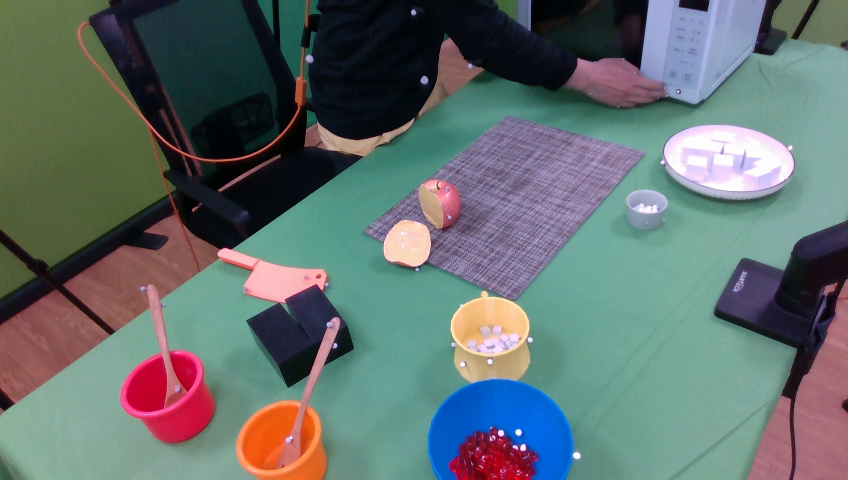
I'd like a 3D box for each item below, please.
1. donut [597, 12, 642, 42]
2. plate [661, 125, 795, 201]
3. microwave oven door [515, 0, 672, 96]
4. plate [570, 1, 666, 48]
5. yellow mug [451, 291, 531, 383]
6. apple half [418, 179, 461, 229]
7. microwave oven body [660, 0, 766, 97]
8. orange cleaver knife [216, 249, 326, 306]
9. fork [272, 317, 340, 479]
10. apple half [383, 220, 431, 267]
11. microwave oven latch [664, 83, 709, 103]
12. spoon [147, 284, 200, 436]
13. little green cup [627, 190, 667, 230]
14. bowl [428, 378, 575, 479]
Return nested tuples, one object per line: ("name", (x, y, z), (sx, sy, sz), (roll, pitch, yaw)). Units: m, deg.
("donut", (0.436, -0.477, 1.347), (0.099, 0.048, 0.098), (-12, 32, 8))
("plate", (0.514, -0.128, 1.036), (0.207, 0.039, 0.206), (-4, 40, 4))
("microwave oven door", (0.344, -0.455, 1.260), (0.353, 0.245, 0.039), (26, 51, 33))
("plate", (0.437, -0.485, 1.370), (0.209, 0.038, 0.208), (-4, 42, 4))
("yellow mug", (0.086, 0.119, 0.787), (0.100, 0.064, 0.130), (-7, 39, 1))
("apple half", (0.032, -0.063, 0.999), (0.053, 0.075, 0.080), (-23, 39, -23))
("microwave oven body", (0.473, -0.514, 1.317), (0.438, 0.261, 0.327), (26, 51, 34))
("orange cleaver knife", (-0.248, 0.058, 0.945), (0.210, 0.012, 0.077), (13, 51, 19))
("fork", (-0.131, 0.185, 0.677), (0.028, 0.019, 0.207), (18, 90, 26))
("apple half", (-0.021, 0.008, 0.948), (0.081, 0.033, 0.081), (-4, 72, 12))
("microwave oven latch", (0.522, -0.298, 1.205), (0.030, 0.029, 0.078), (-33, 46, -25))
("spoon", (-0.318, 0.147, 0.754), (0.042, 0.021, 0.193), (-15, 85, -10))
("little green cup", (0.352, -0.046, 0.964), (0.061, 0.039, 0.061), (-4, 40, 4))
("bowl", (0.083, 0.232, 0.645), (0.151, 0.077, 0.150), (-4, 40, 4))
